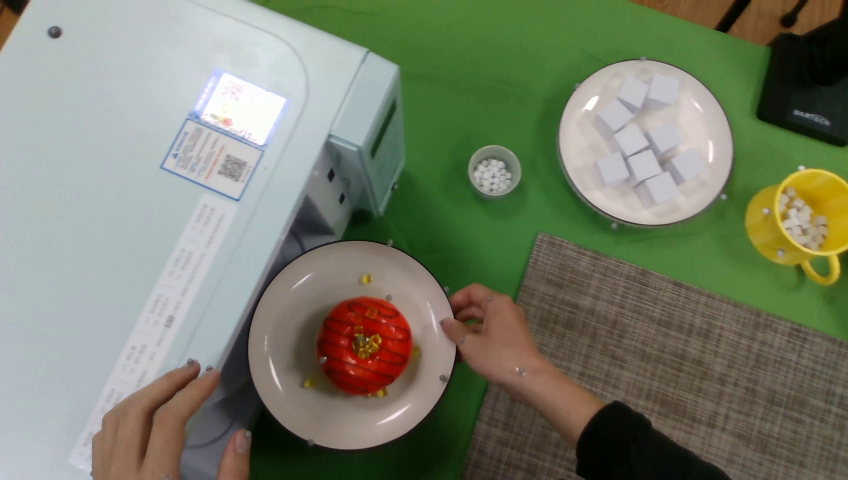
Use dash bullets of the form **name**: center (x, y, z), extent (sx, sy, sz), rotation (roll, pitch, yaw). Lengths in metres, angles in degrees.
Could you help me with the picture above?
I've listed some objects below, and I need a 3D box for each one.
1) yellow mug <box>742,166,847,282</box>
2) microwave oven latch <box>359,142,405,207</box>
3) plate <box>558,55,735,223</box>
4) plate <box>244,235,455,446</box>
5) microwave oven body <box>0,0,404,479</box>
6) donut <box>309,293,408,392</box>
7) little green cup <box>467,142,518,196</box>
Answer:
- **yellow mug**: center (0.439, -0.014, 0.699), extent (0.100, 0.064, 0.130), rotation (-17, 81, -4)
- **microwave oven latch**: center (-0.048, -0.079, 0.695), extent (0.030, 0.029, 0.079), rotation (27, 81, 3)
- **plate**: center (0.262, -0.118, 0.728), extent (0.208, 0.039, 0.207), rotation (0, 80, -1)
- **plate**: center (-0.073, 0.100, 0.614), extent (0.209, 0.038, 0.208), rotation (1, 85, -8)
- **microwave oven body**: center (-0.253, 0.005, 0.578), extent (0.326, 0.261, 0.440), rotation (23, 81, 3)
- **donut**: center (-0.065, 0.102, 0.606), extent (0.099, 0.048, 0.099), rotation (0, 89, -12)
- **little green cup**: center (0.079, -0.081, 0.716), extent (0.061, 0.039, 0.061), rotation (0, 82, -1)
